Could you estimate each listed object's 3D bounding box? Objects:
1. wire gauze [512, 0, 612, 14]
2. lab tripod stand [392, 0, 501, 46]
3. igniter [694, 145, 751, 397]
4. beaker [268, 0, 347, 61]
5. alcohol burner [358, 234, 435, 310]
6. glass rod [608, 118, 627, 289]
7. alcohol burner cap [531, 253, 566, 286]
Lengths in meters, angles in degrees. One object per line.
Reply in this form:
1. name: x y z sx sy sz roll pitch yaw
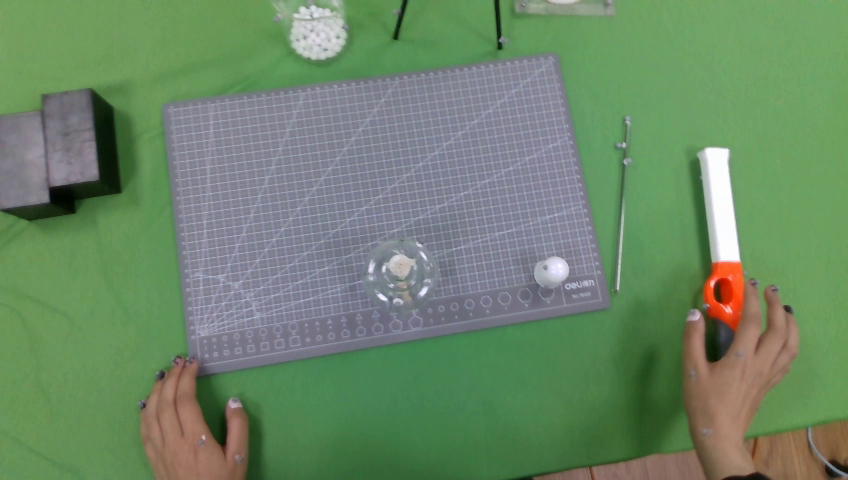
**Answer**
1. wire gauze: 0.160 -0.326 0.723 0.125 0.011 0.121 -2 80 -2
2. lab tripod stand: 0.029 -0.281 0.645 0.148 0.132 0.148 0 79 -1
3. igniter: 0.326 0.031 0.665 0.057 0.025 0.275 1 81 -14
4. beaker: -0.118 -0.243 0.648 0.084 0.100 0.074 37 81 3
5. alcohol burner: -0.027 0.029 0.599 0.078 0.119 0.077 1 78 -3
6. glass rod: 0.217 -0.043 0.681 0.008 0.008 0.199 8 81 -2
7. alcohol burner cap: 0.135 0.030 0.644 0.034 0.048 0.033 0 80 -2
